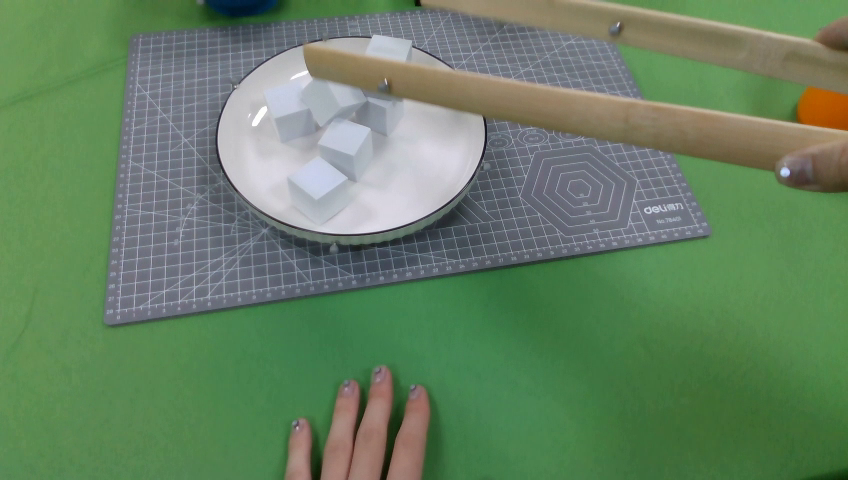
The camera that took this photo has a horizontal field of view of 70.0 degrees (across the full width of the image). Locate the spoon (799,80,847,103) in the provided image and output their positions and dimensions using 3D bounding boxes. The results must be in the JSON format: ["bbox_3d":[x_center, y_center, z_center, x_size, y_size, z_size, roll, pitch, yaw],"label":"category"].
[{"bbox_3d":[0.384,-0.121,0.466,0.041,0.192,0.022,-28,107,-15],"label":"spoon"}]

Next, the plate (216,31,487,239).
[{"bbox_3d":[-0.055,-0.084,0.484,0.208,0.039,0.205,1,58,-2],"label":"plate"}]

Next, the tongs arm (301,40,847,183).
[{"bbox_3d":[0.087,-0.071,0.314,0.385,0.028,0.028,17,48,27],"label":"tongs arm"}]

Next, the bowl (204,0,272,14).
[{"bbox_3d":[-0.183,-0.271,0.572,0.151,0.077,0.150,1,58,-1],"label":"bowl"}]

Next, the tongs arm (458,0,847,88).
[{"bbox_3d":[0.126,-0.115,0.345,0.381,0.027,0.050,25,56,32],"label":"tongs arm"}]
